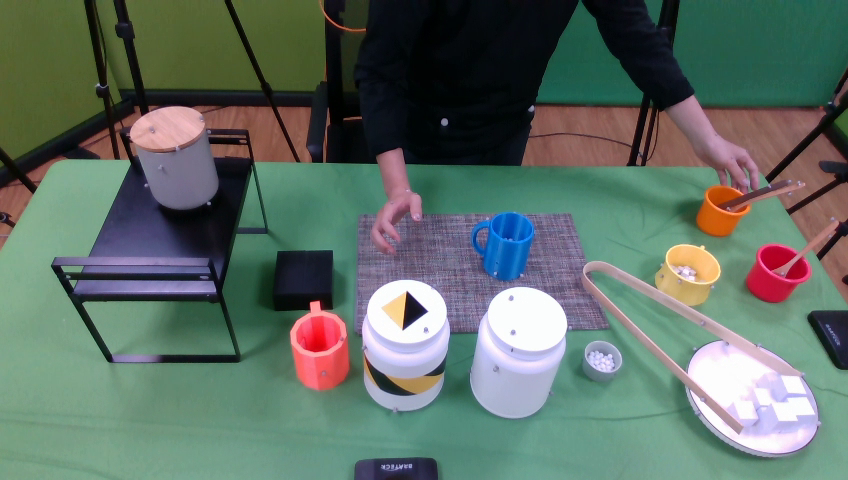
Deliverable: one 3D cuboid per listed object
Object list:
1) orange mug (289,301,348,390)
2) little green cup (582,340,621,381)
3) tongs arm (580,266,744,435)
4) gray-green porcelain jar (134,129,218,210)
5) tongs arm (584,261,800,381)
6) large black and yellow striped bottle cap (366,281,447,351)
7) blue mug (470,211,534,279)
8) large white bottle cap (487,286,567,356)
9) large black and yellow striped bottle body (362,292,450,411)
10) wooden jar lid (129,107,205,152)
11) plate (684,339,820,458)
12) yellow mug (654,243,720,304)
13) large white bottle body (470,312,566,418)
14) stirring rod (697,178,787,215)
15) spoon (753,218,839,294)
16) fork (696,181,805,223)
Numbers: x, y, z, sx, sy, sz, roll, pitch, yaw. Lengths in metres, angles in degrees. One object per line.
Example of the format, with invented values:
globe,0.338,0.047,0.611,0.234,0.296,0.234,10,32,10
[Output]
orange mug,-0.170,0.162,0.976,0.083,0.101,0.125,-7,52,-11
little green cup,0.295,0.203,1.015,0.061,0.039,0.061,2,45,-2
tongs arm,0.384,0.173,1.028,0.028,0.028,0.385,-25,46,-15
gray-green porcelain jar,-0.388,-0.120,0.960,0.106,0.127,0.105,2,46,-2
tongs arm,0.452,0.137,1.064,0.051,0.027,0.382,-34,50,-27
large black and yellow striped bottle cap,-0.025,0.106,0.866,0.115,0.019,0.114,2,46,-1
blue mug,0.141,0.005,1.140,0.116,0.106,0.082,18,48,13
large white bottle cap,0.147,0.114,0.869,0.115,0.018,0.114,3,46,-3
large black and yellow striped bottle body,-0.029,0.163,0.928,0.131,0.185,0.130,2,47,-2
wooden jar lid,-0.385,-0.163,0.915,0.108,0.021,0.107,2,47,-2
plate,0.523,0.256,0.982,0.208,0.039,0.206,2,46,-2
yellow mug,0.504,0.054,1.154,0.099,0.064,0.130,28,49,22
large white bottle body,0.143,0.173,0.930,0.131,0.185,0.130,2,46,-2
stirring rod,0.650,-0.088,1.245,0.006,0.176,0.014,28,50,-39
spoon,0.700,0.031,1.138,0.194,0.022,0.041,-47,54,14
fork,0.659,-0.077,1.232,0.207,0.019,0.028,-26,35,34
